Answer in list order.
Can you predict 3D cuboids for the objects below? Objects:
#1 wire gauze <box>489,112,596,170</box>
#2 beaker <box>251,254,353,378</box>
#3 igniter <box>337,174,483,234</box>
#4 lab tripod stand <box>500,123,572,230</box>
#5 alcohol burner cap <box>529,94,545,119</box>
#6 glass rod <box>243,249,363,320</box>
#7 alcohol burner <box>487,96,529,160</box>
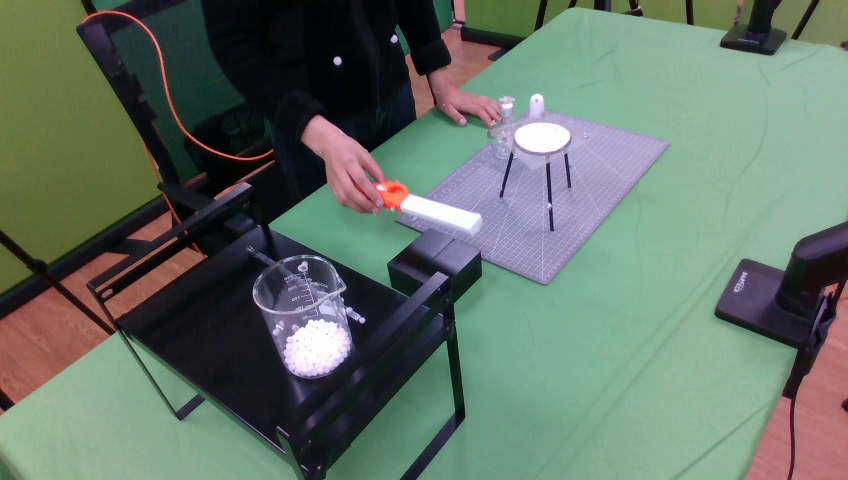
[{"bbox_3d":[0.183,-0.161,0.942,0.122,0.011,0.124,-24,44,-18],"label":"wire gauze"},{"bbox_3d":[-0.106,0.074,0.565,0.084,0.101,0.073,-1,41,8],"label":"beaker"},{"bbox_3d":[-0.032,-0.058,0.900,0.274,0.025,0.057,19,52,36],"label":"igniter"},{"bbox_3d":[0.194,-0.110,0.984,0.148,0.132,0.147,-3,41,3],"label":"lab tripod stand"},{"bbox_3d":[0.233,-0.277,1.247,0.034,0.048,0.033,-5,41,5],"label":"alcohol burner cap"},{"bbox_3d":[-0.141,0.046,0.674,0.198,0.008,0.008,24,49,32],"label":"glass rod"},{"bbox_3d":[0.155,-0.211,1.126,0.078,0.119,0.077,-6,40,5],"label":"alcohol burner"}]
